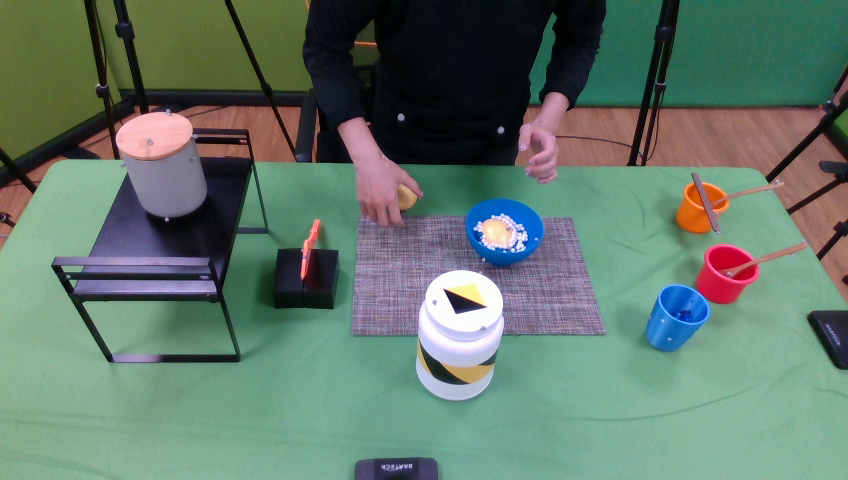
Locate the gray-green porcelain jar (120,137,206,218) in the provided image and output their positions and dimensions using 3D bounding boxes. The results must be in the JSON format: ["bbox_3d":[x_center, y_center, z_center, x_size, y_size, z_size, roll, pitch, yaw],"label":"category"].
[{"bbox_3d":[-0.403,-0.106,0.946,0.106,0.127,0.105,3,46,-2],"label":"gray-green porcelain jar"}]

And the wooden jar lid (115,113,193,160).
[{"bbox_3d":[-0.399,-0.151,0.900,0.108,0.021,0.107,3,46,-3],"label":"wooden jar lid"}]

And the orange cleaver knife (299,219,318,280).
[{"bbox_3d":[-0.214,0.013,1.126,0.012,0.077,0.210,6,17,-5],"label":"orange cleaver knife"}]

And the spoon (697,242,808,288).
[{"bbox_3d":[0.601,0.045,1.116,0.194,0.022,0.041,-29,34,30],"label":"spoon"}]

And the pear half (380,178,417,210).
[{"bbox_3d":[-0.046,-0.092,1.263,0.076,0.056,0.109,-22,8,18],"label":"pear half"}]

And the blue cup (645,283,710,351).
[{"bbox_3d":[0.426,0.139,1.041,0.093,0.100,0.092,4,46,-4],"label":"blue cup"}]

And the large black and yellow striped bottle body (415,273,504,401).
[{"bbox_3d":[0.054,0.150,0.943,0.131,0.185,0.130,2,46,-2],"label":"large black and yellow striped bottle body"}]

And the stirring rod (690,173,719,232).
[{"bbox_3d":[0.566,-0.079,1.225,0.014,0.006,0.175,2,45,2],"label":"stirring rod"}]

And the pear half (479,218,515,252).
[{"bbox_3d":[0.145,-0.013,1.167,0.070,0.031,0.087,-20,55,-20],"label":"pear half"}]

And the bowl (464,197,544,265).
[{"bbox_3d":[0.148,-0.004,1.167,0.151,0.077,0.150,3,46,-3],"label":"bowl"}]

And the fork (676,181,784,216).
[{"bbox_3d":[0.618,-0.083,1.235,0.207,0.019,0.028,-23,21,38],"label":"fork"}]

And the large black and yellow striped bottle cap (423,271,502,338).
[{"bbox_3d":[0.057,0.092,0.883,0.115,0.019,0.114,3,45,-3],"label":"large black and yellow striped bottle cap"}]
